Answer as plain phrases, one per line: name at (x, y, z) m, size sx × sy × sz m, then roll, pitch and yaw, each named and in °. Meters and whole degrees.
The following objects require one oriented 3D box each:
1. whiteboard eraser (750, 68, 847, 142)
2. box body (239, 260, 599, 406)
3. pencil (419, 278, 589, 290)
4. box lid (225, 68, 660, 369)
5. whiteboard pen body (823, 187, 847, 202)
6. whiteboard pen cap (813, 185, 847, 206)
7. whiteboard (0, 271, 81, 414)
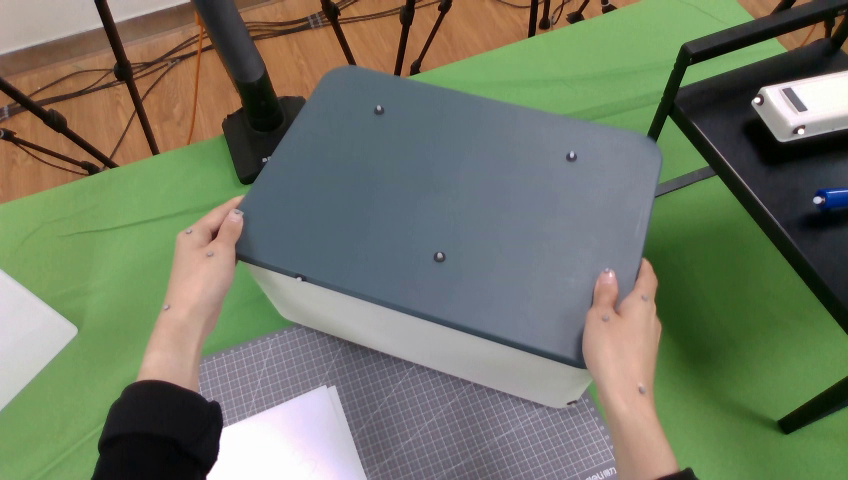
whiteboard eraser at (0.369, -0.125, 0.563) m, size 0.113 × 0.042 × 0.055 m, roll -12°, pitch 60°, yaw -5°
box body at (0.027, -0.003, 0.644) m, size 0.363 × 0.162 × 0.252 m, roll 16°, pitch 60°, yaw 12°
pencil at (0.090, 0.049, 0.695) m, size 0.194 × 0.012 × 0.012 m, roll 1°, pitch 59°, yaw 7°
box lid at (0.022, -0.044, 0.580) m, size 0.370 × 0.015 × 0.261 m, roll 16°, pitch 59°, yaw 11°
whiteboard pen body at (0.410, -0.044, 0.522) m, size 0.141 × 0.017 × 0.017 m, roll -6°, pitch 58°, yaw -6°
whiteboard pen cap at (0.352, -0.038, 0.515) m, size 0.033 × 0.018 × 0.018 m, roll -5°, pitch 58°, yaw -7°
whiteboard at (-0.551, 0.067, 0.582) m, size 0.142 × 0.309 × 0.216 m, roll 19°, pitch 60°, yaw 36°
